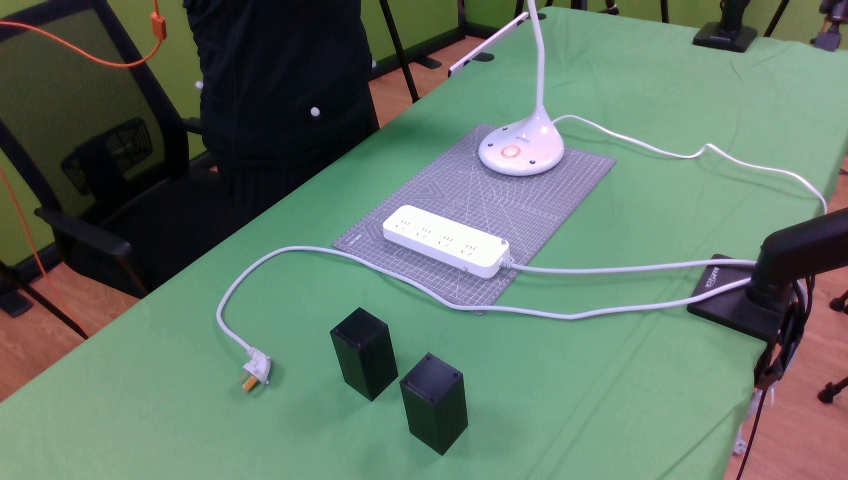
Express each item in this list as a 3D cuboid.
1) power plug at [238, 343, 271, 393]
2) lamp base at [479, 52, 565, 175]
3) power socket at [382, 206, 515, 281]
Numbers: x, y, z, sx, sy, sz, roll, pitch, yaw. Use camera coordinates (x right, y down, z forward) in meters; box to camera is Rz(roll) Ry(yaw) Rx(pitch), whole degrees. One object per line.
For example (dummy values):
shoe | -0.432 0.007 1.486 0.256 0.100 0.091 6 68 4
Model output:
power plug | -0.230 0.172 0.801 0.072 0.035 0.053 8 50 50
lamp base | 0.182 -0.236 1.094 0.159 0.181 0.179 18 43 27
power socket | 0.032 0.002 0.950 0.225 0.033 0.072 21 49 29
